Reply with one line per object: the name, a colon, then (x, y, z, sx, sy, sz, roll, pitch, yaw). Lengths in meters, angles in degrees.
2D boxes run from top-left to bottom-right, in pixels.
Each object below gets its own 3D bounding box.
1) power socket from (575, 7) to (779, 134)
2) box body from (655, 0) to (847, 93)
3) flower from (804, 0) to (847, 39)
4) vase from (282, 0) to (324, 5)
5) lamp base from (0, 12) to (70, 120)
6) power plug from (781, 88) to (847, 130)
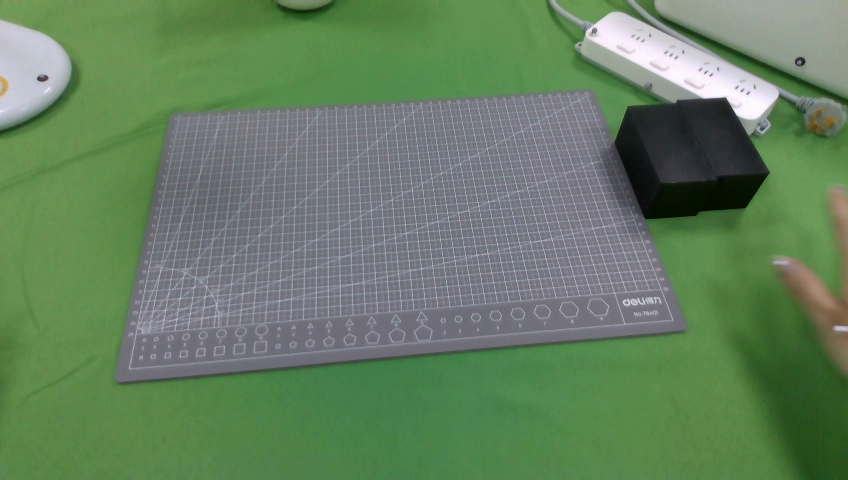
power socket: (0.273, -0.189, 0.660, 0.225, 0.033, 0.072, 38, 62, 24)
box body: (0.478, -0.311, 0.671, 0.361, 0.162, 0.253, 35, 61, 22)
flower: (0.483, -0.278, 0.735, 0.044, 0.038, 0.358, -31, 64, 6)
vase: (-0.146, -0.373, 0.682, 0.098, 0.201, 0.097, 1, 53, -1)
lamp base: (-0.468, -0.231, 0.585, 0.160, 0.182, 0.177, -31, 58, -21)
power plug: (0.401, -0.134, 0.632, 0.053, 0.035, 0.072, -27, 27, -30)
